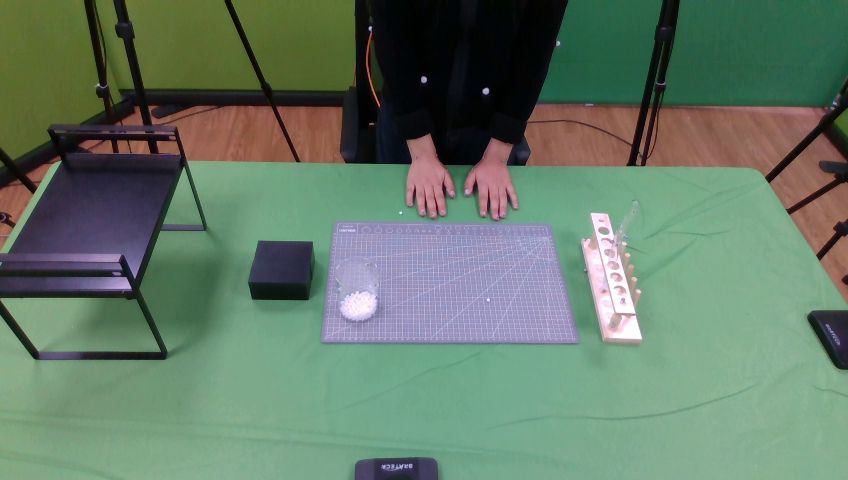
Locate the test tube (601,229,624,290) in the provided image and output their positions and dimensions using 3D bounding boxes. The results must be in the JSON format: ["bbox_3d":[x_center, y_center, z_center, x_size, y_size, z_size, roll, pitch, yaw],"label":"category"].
[{"bbox_3d":[0.333,0.037,1.076,0.017,0.151,0.017,-1,46,2],"label":"test tube"}]

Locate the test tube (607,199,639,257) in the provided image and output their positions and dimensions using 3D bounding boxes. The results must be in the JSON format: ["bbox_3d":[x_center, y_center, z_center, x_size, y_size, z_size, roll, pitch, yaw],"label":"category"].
[{"bbox_3d":[0.374,-0.020,1.140,0.017,0.151,0.017,3,47,-3],"label":"test tube"}]

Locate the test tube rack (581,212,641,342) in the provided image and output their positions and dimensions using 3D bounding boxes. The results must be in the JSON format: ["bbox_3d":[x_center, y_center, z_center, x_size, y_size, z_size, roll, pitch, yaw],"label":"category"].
[{"bbox_3d":[0.351,0.063,1.121,0.067,0.085,0.241,2,46,-1],"label":"test tube rack"}]

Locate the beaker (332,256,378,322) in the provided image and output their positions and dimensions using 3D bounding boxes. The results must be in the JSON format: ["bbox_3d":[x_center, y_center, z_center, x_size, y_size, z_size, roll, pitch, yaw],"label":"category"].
[{"bbox_3d":[-0.114,0.089,1.047,0.083,0.101,0.074,30,52,21],"label":"beaker"}]
